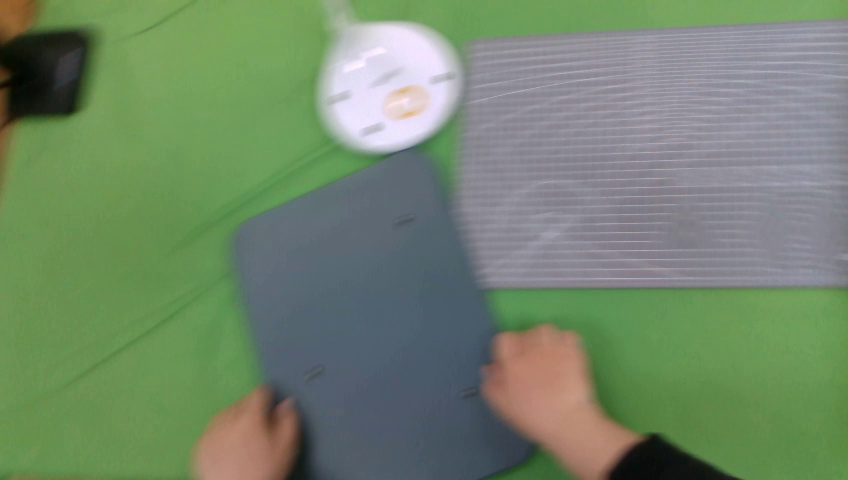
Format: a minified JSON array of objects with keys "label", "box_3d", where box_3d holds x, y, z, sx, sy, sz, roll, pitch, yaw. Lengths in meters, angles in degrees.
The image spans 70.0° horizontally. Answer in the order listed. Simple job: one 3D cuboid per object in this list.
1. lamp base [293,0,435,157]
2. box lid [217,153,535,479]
[{"label":"lamp base","box_3d":[-0.088,-0.199,0.653,0.178,0.181,0.160,38,85,17]},{"label":"box lid","box_3d":[-0.065,0.103,0.670,0.263,0.015,0.369,-24,76,3]}]
